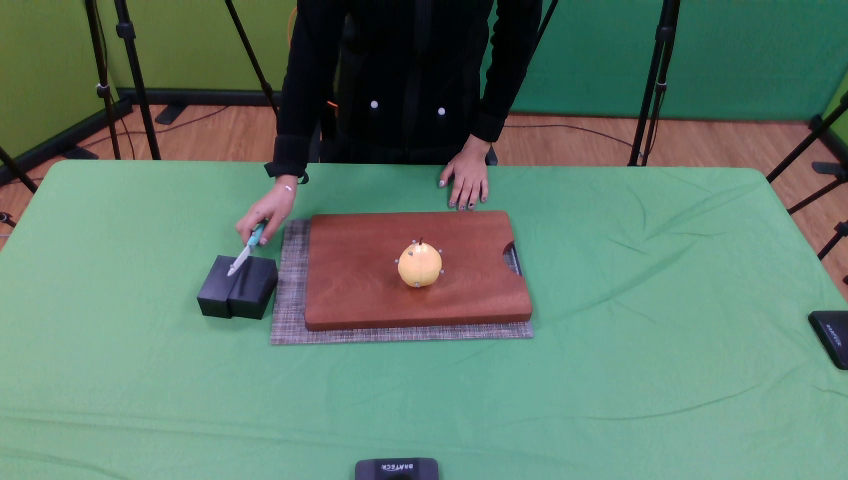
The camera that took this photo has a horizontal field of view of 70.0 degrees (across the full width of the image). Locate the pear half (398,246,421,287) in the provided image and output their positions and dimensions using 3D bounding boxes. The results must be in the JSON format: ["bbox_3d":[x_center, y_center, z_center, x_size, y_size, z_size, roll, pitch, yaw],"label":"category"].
[{"bbox_3d":[-0.029,0.046,1.066,0.031,0.088,0.070,-18,55,-20],"label":"pear half"}]

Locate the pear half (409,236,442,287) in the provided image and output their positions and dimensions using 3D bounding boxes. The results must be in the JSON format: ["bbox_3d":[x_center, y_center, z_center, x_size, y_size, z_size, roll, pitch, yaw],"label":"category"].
[{"bbox_3d":[0.004,0.029,1.070,0.056,0.110,0.076,-18,53,-20],"label":"pear half"}]

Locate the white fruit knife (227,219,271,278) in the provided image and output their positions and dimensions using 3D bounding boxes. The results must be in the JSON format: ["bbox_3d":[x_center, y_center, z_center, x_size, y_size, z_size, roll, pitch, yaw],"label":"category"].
[{"bbox_3d":[-0.316,0.012,1.100,0.016,0.027,0.206,8,29,2],"label":"white fruit knife"}]
